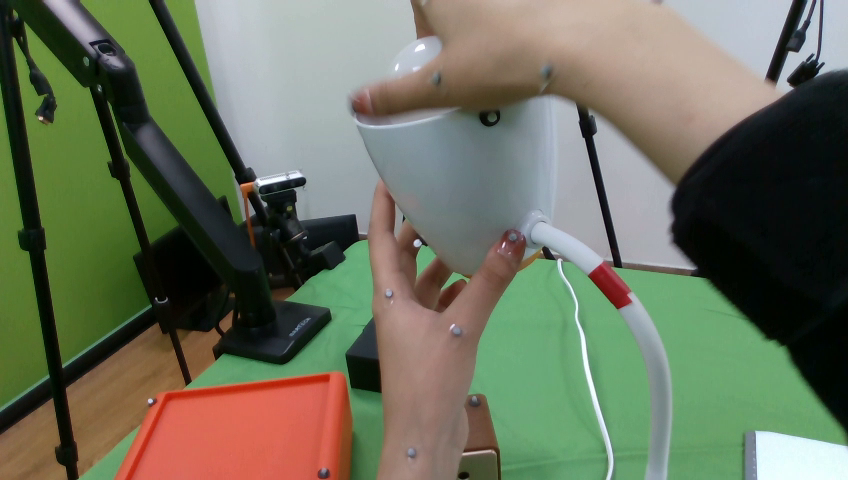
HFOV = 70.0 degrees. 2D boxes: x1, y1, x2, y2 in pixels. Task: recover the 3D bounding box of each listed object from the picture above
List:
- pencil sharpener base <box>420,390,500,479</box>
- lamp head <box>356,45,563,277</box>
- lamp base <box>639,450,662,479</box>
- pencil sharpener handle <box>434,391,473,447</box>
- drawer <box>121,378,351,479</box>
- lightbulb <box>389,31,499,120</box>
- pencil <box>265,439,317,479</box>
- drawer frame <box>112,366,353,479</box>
[{"bbox_3d":[0.032,0.196,0.537,0.061,0.108,0.076,-6,26,-1],"label":"pencil sharpener base"},{"bbox_3d":[0.034,-0.039,0.354,0.112,0.124,0.111,-19,22,8],"label":"lamp head"},{"bbox_3d":[0.145,0.231,0.358,0.161,0.181,0.177,-8,22,-5],"label":"lamp base"},{"bbox_3d":[0.026,0.164,0.577,0.036,0.068,0.030,-1,26,-4],"label":"pencil sharpener handle"},{"bbox_3d":[-0.170,0.223,0.552,0.194,0.074,0.210,-7,25,-1],"label":"drawer"},{"bbox_3d":[0.023,-0.069,0.348,0.059,0.109,0.059,-24,39,21],"label":"lightbulb"},{"bbox_3d":[-0.168,0.239,0.525,0.012,0.012,0.194,21,48,43],"label":"pencil"},{"bbox_3d":[-0.172,0.220,0.554,0.202,0.083,0.211,-7,25,-2],"label":"drawer frame"}]
